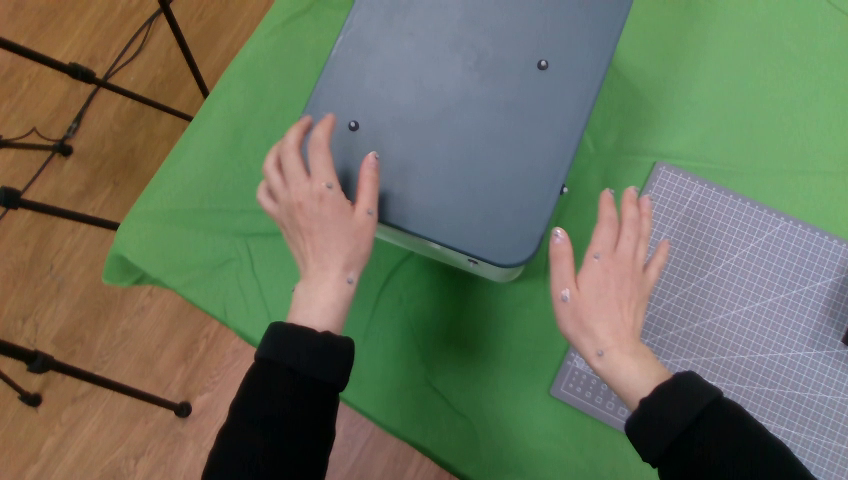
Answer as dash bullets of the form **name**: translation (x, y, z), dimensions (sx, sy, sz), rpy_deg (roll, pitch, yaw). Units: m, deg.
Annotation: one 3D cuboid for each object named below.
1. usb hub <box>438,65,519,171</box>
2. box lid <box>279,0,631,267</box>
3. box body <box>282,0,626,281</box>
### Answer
- **usb hub**: translation (0.066, -0.146, 0.721), dimensions (0.049, 0.025, 0.125), rpy_deg (25, 78, 12)
- **box lid**: translation (0.039, -0.176, 0.593), dimensions (0.262, 0.015, 0.370), rpy_deg (21, 80, 9)
- **box body**: translation (0.046, -0.160, 0.664), dimensions (0.253, 0.161, 0.363), rpy_deg (20, 80, 9)
